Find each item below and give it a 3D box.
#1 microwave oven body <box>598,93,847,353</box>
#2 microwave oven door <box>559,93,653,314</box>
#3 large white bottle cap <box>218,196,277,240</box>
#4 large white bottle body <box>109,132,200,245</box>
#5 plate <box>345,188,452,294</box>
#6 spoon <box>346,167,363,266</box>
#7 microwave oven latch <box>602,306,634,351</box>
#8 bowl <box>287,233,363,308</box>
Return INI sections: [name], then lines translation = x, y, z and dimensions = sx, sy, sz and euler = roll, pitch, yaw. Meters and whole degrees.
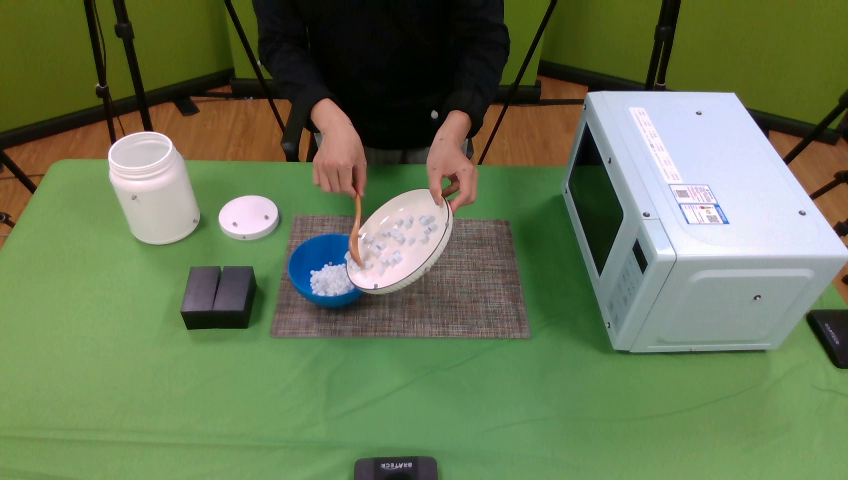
[microwave oven body]
translation = 0.475, -0.041, 1.109
dimensions = 0.326, 0.261, 0.438
euler = -1, 45, -4
[microwave oven door]
translation = 0.327, -0.075, 1.123
dimensions = 0.039, 0.245, 0.353
euler = -1, 46, -5
[large white bottle cap]
translation = -0.354, -0.045, 1.220
dimensions = 0.115, 0.018, 0.114
euler = 2, 45, -2
[large white bottle body]
translation = -0.506, -0.097, 1.141
dimensions = 0.131, 0.185, 0.130
euler = 2, 46, -2
[plate]
translation = -0.039, 0.005, 1.000
dimensions = 0.209, 0.038, 0.208
euler = -25, 40, 24
[spoon]
translation = -0.119, -0.043, 1.049
dimensions = 0.021, 0.042, 0.192
euler = -17, 62, 31
[microwave oven latch]
translation = 0.332, 0.153, 1.044
dimensions = 0.030, 0.029, 0.078
euler = 0, 45, -4
[bowl]
translation = -0.165, 0.068, 1.078
dimensions = 0.151, 0.077, 0.150
euler = 3, 45, -3
